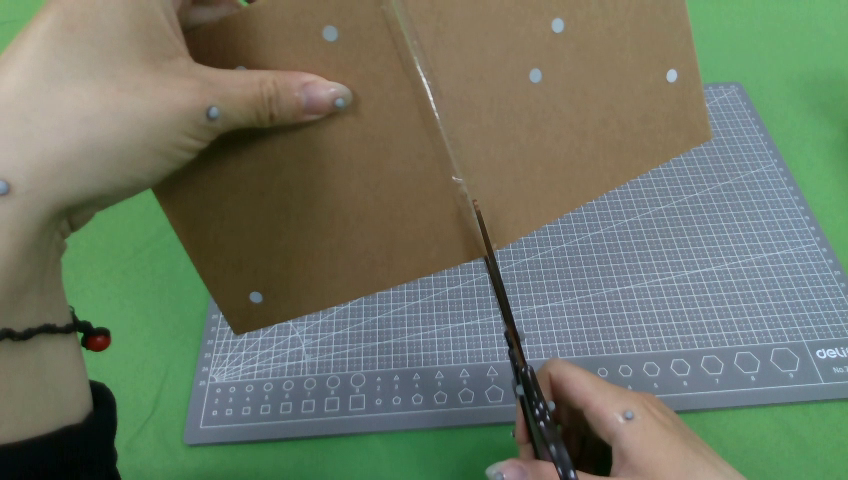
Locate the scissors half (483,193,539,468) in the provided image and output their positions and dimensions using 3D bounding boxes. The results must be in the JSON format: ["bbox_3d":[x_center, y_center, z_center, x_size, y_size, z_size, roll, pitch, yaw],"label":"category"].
[{"bbox_3d":[0.046,0.052,0.306,0.013,0.177,0.039,-15,34,0],"label":"scissors half"}]

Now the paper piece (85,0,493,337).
[{"bbox_3d":[-0.056,-0.030,0.266,0.138,0.137,0.008,-18,18,11],"label":"paper piece"}]

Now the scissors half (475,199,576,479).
[{"bbox_3d":[0.049,0.059,0.284,0.013,0.040,0.175,-17,91,-4],"label":"scissors half"}]

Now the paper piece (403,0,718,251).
[{"bbox_3d":[0.067,-0.082,0.267,0.136,0.136,0.004,-26,20,-13],"label":"paper piece"}]
